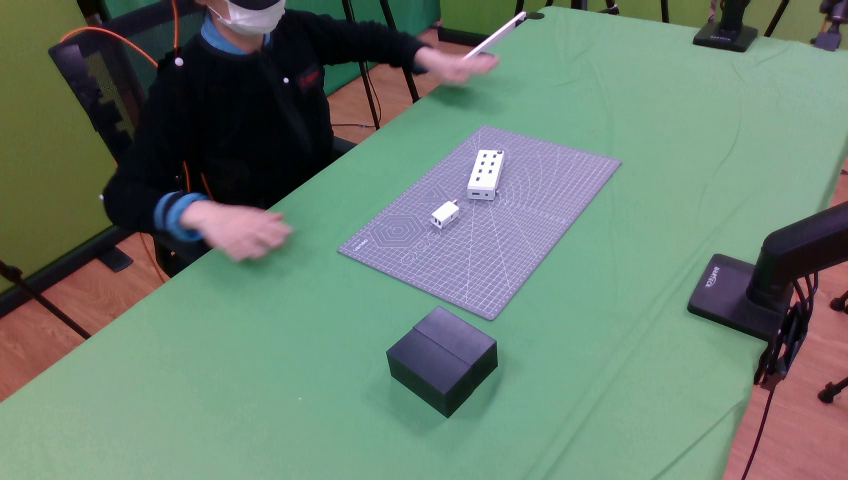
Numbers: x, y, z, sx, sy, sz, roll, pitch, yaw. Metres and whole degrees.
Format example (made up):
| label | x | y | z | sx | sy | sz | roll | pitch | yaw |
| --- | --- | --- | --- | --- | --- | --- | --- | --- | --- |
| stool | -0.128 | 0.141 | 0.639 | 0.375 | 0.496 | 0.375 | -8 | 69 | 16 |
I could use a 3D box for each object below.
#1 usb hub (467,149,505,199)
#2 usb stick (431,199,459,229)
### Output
| label | x | y | z | sx | sy | sz | roll | pitch | yaw |
| --- | --- | --- | --- | --- | --- | --- | --- | --- | --- |
| usb hub | 0.112 | -0.119 | 1.084 | 0.049 | 0.025 | 0.125 | 6 | 42 | 14 |
| usb stick | 0.039 | -0.046 | 1.009 | 0.027 | 0.021 | 0.059 | 34 | 56 | 24 |
